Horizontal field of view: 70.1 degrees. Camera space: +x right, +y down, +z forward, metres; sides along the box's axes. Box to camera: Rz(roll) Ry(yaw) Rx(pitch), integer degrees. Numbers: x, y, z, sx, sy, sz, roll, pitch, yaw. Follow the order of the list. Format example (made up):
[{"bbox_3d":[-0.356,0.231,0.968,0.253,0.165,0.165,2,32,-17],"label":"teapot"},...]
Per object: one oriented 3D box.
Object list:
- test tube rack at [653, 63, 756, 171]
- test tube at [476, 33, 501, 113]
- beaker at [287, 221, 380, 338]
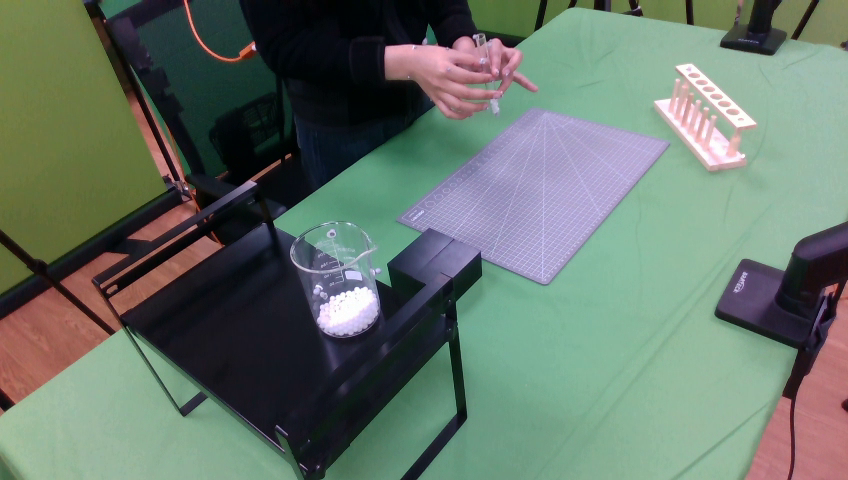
[{"bbox_3d":[0.510,-0.233,1.120,0.067,0.085,0.241,-9,41,-1],"label":"test tube rack"},{"bbox_3d":[0.105,-0.266,0.980,0.017,0.151,0.017,-9,49,11],"label":"test tube"},{"bbox_3d":[-0.083,0.042,0.602,0.084,0.101,0.073,-5,41,3],"label":"beaker"}]
